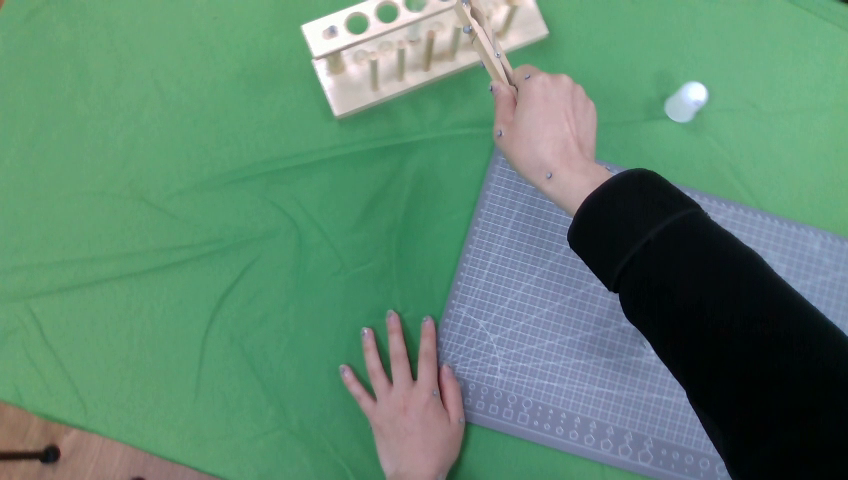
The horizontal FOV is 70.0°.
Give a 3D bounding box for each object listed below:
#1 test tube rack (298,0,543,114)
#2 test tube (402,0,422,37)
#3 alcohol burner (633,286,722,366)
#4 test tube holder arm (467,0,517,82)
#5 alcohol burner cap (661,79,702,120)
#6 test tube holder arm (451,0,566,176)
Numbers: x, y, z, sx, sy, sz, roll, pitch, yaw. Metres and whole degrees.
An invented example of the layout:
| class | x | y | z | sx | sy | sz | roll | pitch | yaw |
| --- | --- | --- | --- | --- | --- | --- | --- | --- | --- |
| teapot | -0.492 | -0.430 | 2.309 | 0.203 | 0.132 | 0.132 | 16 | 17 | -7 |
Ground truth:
| class | x | y | z | sx | sy | sz | roll | pitch | yaw |
| --- | --- | --- | --- | --- | --- | --- | --- | --- | --- |
| test tube rack | 0.005 | -0.212 | 0.606 | 0.242 | 0.085 | 0.066 | -23 | 85 | -5 |
| test tube | -0.008 | -0.230 | 0.558 | 0.017 | 0.150 | 0.017 | 1 | 80 | -6 |
| alcohol burner | 0.245 | 0.081 | 0.571 | 0.078 | 0.119 | 0.077 | 0 | 81 | -2 |
| test tube holder arm | 0.056 | -0.175 | 0.528 | 0.010 | 0.015 | 0.087 | -22 | 82 | -29 |
| alcohol burner cap | 0.273 | -0.150 | 0.636 | 0.034 | 0.048 | 0.033 | 0 | 78 | -1 |
| test tube holder arm | 0.072 | -0.133 | 0.520 | 0.013 | 0.015 | 0.178 | -25 | 84 | -29 |
